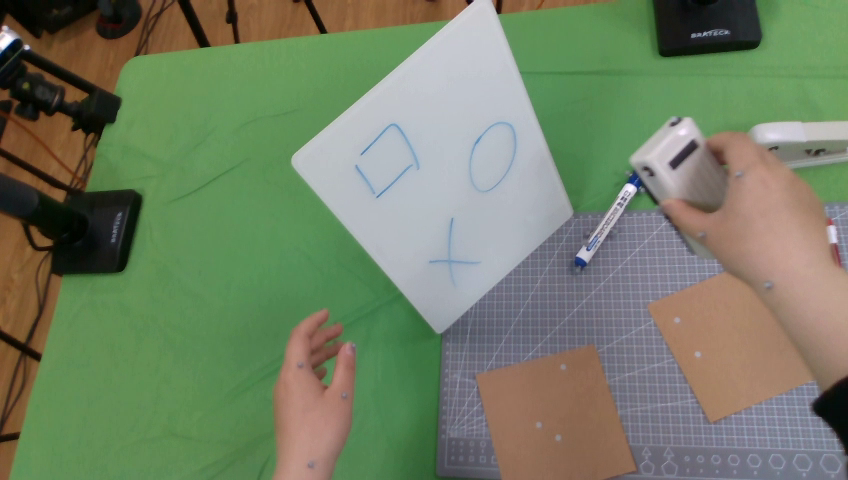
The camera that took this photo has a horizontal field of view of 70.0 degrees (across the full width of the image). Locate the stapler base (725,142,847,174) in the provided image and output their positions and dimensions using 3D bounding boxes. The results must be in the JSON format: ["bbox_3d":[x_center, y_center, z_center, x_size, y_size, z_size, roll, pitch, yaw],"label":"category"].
[{"bbox_3d":[0.414,-0.104,0.686,0.130,0.024,0.041,-7,70,8],"label":"stapler base"}]

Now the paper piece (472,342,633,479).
[{"bbox_3d":[0.132,0.187,0.638,0.135,0.004,0.134,-15,67,5],"label":"paper piece"}]

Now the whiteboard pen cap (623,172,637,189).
[{"bbox_3d":[0.247,-0.075,0.711,0.018,0.018,0.033,29,77,22],"label":"whiteboard pen cap"}]

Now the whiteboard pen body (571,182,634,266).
[{"bbox_3d":[0.213,-0.028,0.701,0.017,0.017,0.140,32,78,22],"label":"whiteboard pen body"}]

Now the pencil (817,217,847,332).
[{"bbox_3d":[0.430,0.066,0.618,0.012,0.012,0.192,-5,70,11],"label":"pencil"}]

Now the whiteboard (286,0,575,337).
[{"bbox_3d":[0.000,-0.080,0.646,0.217,0.309,0.142,-40,45,-4],"label":"whiteboard"}]

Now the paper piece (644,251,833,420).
[{"bbox_3d":[0.323,0.098,0.632,0.136,0.009,0.137,-24,67,7],"label":"paper piece"}]

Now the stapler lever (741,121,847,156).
[{"bbox_3d":[0.411,-0.114,0.664,0.118,0.040,0.026,-8,69,9],"label":"stapler lever"}]

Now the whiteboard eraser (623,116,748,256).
[{"bbox_3d":[0.214,-0.043,0.500,0.055,0.041,0.113,-43,106,-5],"label":"whiteboard eraser"}]
